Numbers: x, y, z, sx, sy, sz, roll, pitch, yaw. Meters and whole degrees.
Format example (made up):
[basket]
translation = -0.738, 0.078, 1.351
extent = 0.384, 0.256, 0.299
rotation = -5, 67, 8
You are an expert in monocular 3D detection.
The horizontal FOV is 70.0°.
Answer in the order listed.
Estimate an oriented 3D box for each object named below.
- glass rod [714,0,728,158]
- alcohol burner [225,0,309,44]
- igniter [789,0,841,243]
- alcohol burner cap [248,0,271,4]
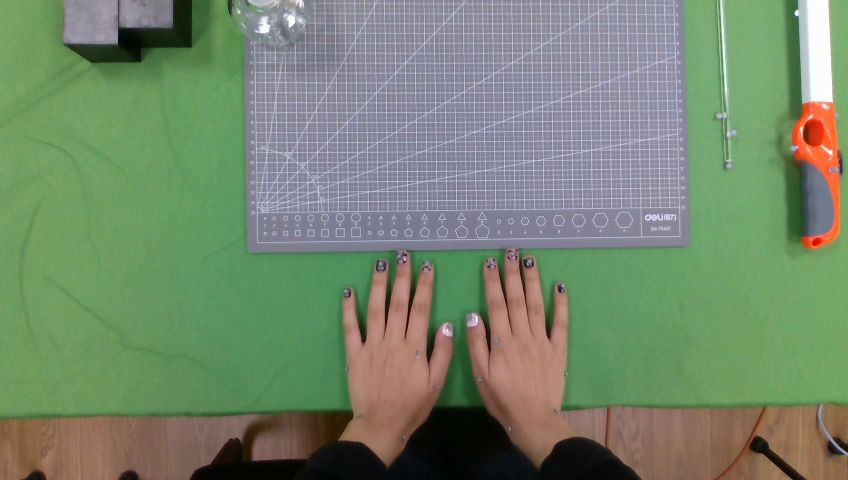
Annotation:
[glass rod]
translation = 0.309, -0.185, 0.631
extent = 0.008, 0.008, 0.199
rotation = -2, 89, -3
[alcohol burner]
translation = -0.147, -0.226, 0.555
extent = 0.078, 0.119, 0.078
rotation = 0, 89, 0
[igniter]
translation = 0.402, -0.135, 0.625
extent = 0.057, 0.025, 0.276
rotation = -1, 89, -13
[alcohol burner cap]
translation = -0.147, -0.229, 0.519
extent = 0.034, 0.048, 0.033
rotation = 1, 82, -4
